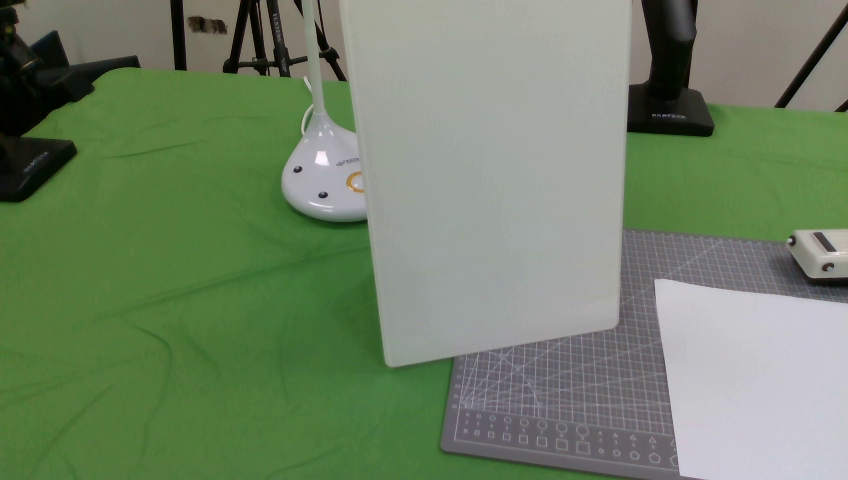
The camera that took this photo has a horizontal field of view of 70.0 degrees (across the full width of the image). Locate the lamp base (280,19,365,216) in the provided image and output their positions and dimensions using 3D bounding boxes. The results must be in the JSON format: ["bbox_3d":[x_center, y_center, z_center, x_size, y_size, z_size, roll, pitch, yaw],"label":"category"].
[{"bbox_3d":[-0.100,-0.144,0.684,0.161,0.182,0.177,-28,45,-28],"label":"lamp base"}]

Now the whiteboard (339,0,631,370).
[{"bbox_3d":[0.048,-0.068,0.543,0.217,0.307,0.142,-8,22,-8],"label":"whiteboard"}]

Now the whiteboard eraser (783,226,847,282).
[{"bbox_3d":[0.424,0.014,0.599,0.113,0.042,0.055,0,42,0],"label":"whiteboard eraser"}]
